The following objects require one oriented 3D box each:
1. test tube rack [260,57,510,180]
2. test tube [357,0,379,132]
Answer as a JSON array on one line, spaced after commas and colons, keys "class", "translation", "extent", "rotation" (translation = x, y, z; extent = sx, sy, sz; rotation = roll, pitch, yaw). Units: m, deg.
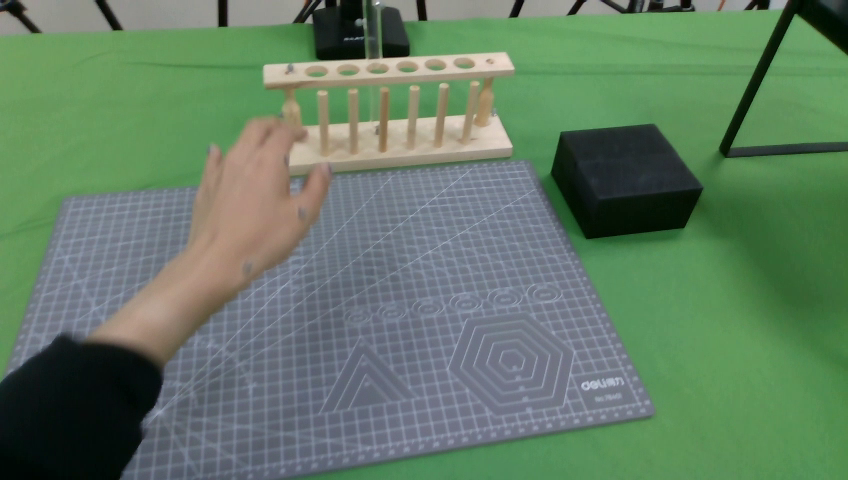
[{"class": "test tube rack", "translation": [-0.035, -0.124, 0.610], "extent": [0.243, 0.086, 0.066], "rotation": [-6, 46, -10]}, {"class": "test tube", "translation": [-0.053, -0.170, 0.584], "extent": [0.017, 0.151, 0.017], "rotation": [1, 42, 0]}]
